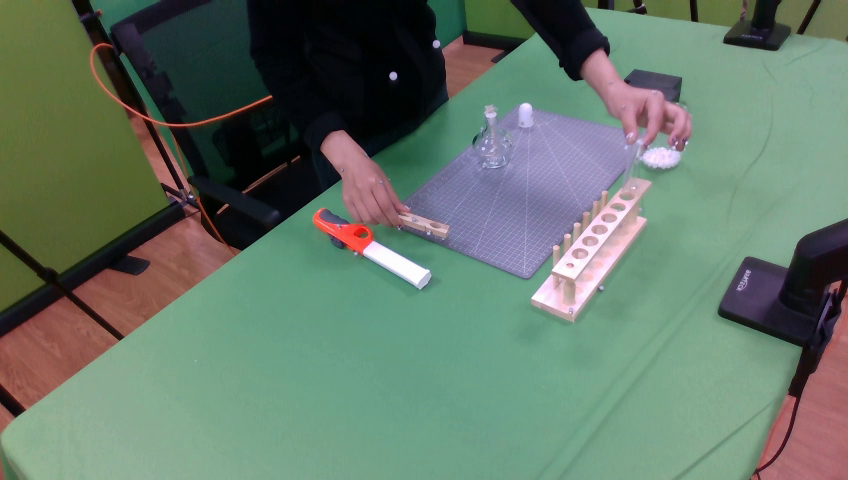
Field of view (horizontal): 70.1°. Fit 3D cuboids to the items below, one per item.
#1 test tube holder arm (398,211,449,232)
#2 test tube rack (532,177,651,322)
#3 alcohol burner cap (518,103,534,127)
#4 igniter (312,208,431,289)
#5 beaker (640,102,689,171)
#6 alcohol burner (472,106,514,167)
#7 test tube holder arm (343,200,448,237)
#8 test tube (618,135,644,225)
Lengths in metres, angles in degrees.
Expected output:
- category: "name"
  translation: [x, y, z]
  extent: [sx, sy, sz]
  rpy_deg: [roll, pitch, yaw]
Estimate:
- category: "test tube holder arm"
  translation: [-0.003, -0.026, 0.956]
  extent: [0.087, 0.015, 0.010]
  rpy_deg: [17, 42, 12]
- category: "test tube rack"
  translation: [0.248, 0.003, 0.883]
  extent: [0.066, 0.085, 0.243]
  rpy_deg: [22, 49, 33]
- category: "alcohol burner cap"
  translation: [0.205, -0.254, 1.223]
  extent: [0.034, 0.048, 0.033]
  rpy_deg: [-6, 41, 6]
- category: "igniter"
  translation: [-0.096, 0.008, 0.985]
  extent: [0.274, 0.025, 0.057]
  rpy_deg: [28, 62, 36]
- category: "beaker"
  translation: [0.417, -0.177, 1.053]
  extent: [0.074, 0.101, 0.083]
  rpy_deg: [-4, 41, 7]
- category: "alcohol burner"
  translation: [0.126, -0.194, 1.111]
  extent: [0.078, 0.119, 0.077]
  rpy_deg: [-5, 42, 5]
- category: "test tube holder arm"
  translation: [-0.047, -0.035, 0.960]
  extent: [0.178, 0.015, 0.013]
  rpy_deg: [15, 42, 11]
- category: "test tube"
  translation: [0.298, -0.083, 0.877]
  extent: [0.017, 0.151, 0.017]
  rpy_deg: [-2, 39, 2]
